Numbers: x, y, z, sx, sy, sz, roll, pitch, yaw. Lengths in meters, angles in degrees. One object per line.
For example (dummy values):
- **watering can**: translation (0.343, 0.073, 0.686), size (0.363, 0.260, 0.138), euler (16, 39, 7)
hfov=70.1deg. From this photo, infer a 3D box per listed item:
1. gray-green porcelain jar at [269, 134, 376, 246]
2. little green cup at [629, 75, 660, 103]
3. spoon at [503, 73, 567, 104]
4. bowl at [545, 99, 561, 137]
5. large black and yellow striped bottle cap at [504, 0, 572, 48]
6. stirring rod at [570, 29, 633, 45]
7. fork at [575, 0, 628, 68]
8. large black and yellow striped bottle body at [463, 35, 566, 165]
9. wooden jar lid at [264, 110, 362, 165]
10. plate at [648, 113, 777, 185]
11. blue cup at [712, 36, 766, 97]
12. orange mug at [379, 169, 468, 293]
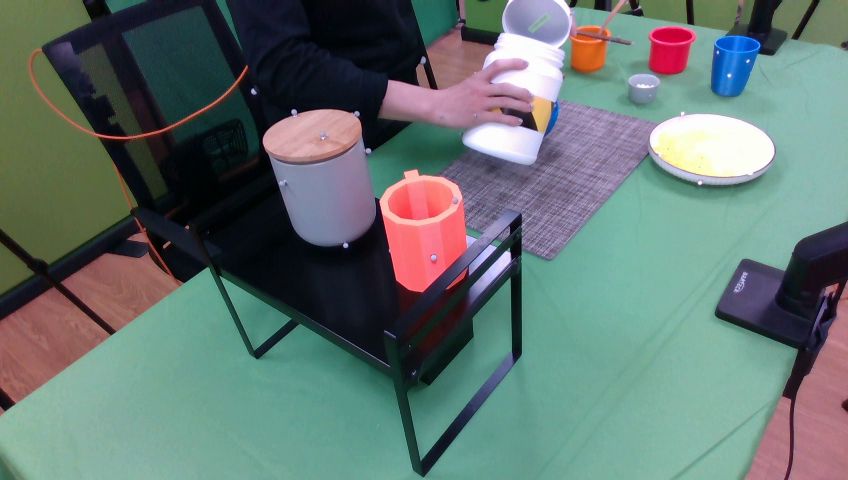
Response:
- **gray-green porcelain jar**: translation (-0.115, -0.064, 0.715), size (0.106, 0.127, 0.105), euler (-4, 40, 4)
- **little green cup**: translation (0.458, -0.314, 1.260), size (0.061, 0.039, 0.061), euler (-4, 40, 4)
- **spoon**: translation (0.249, -0.336, 1.332), size (0.194, 0.022, 0.041), euler (-32, 32, -25)
- **bowl**: translation (0.185, -0.222, 1.160), size (0.151, 0.077, 0.150), euler (-5, 40, 4)
- **large black and yellow striped bottle cap**: translation (0.191, -0.366, 1.014), size (0.114, 0.116, 0.019), euler (12, 68, 22)
- **stirring rod**: translation (0.382, -0.454, 1.345), size (0.174, 0.006, 0.014), euler (27, 53, 33)
- **fork**: translation (0.413, -0.481, 1.377), size (0.207, 0.019, 0.028), euler (-57, 43, 12)
- **large black and yellow striped bottle body**: translation (0.149, -0.228, 0.986), size (0.131, 0.184, 0.130), euler (16, 14, -4)
- **wooden jar lid**: translation (-0.122, -0.112, 0.673), size (0.108, 0.021, 0.108), euler (-4, 37, 4)
- **plate**: translation (0.506, -0.158, 1.073), size (0.209, 0.038, 0.208), euler (-5, 40, 4)
- **blue cup**: translation (0.627, -0.350, 1.227), size (0.092, 0.100, 0.092), euler (-4, 39, 4)
- **orange mug**: translation (-0.002, -0.019, 0.665), size (0.083, 0.101, 0.125), euler (-12, 45, -4)
